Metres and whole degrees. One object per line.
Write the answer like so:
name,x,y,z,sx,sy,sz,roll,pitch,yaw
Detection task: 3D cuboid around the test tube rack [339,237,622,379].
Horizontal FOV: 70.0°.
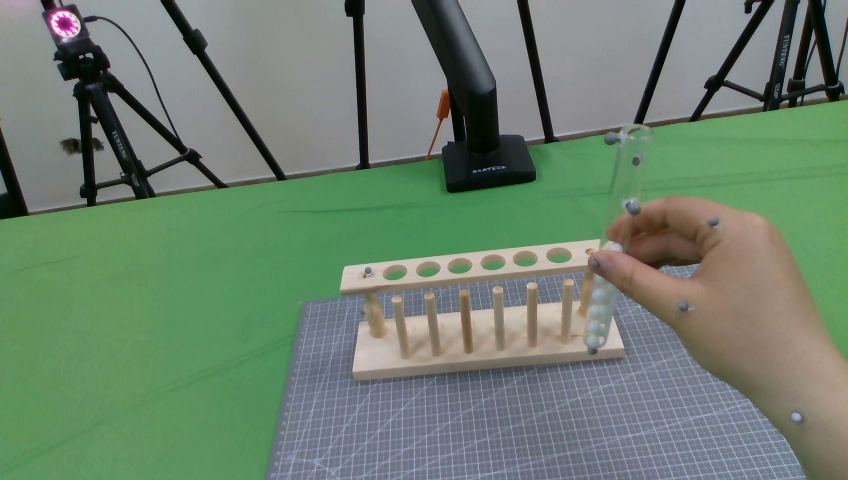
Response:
test tube rack,0.050,0.062,0.546,0.242,0.086,0.066,-6,37,5

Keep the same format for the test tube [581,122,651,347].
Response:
test tube,0.105,0.005,0.338,0.017,0.151,0.017,-1,37,1
